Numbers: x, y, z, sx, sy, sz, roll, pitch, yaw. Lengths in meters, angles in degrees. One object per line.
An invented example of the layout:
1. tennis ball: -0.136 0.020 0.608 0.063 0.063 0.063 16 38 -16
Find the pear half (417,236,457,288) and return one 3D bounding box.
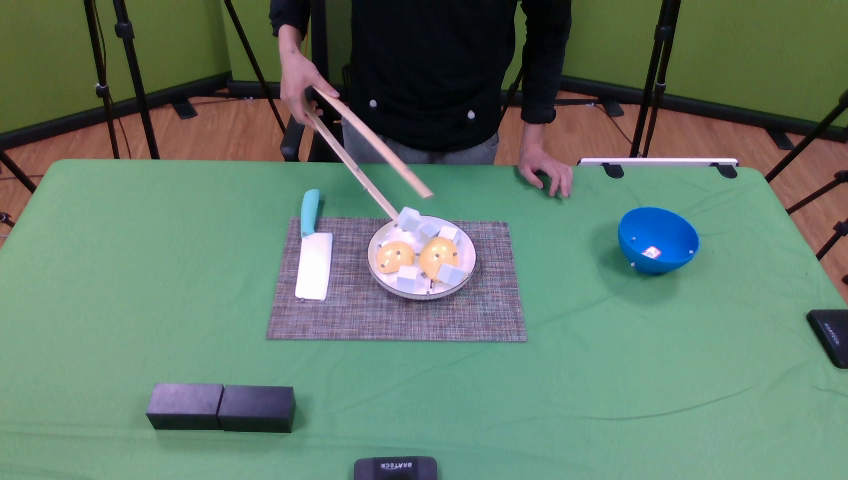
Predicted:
1. pear half: 0.022 0.039 1.127 0.076 0.056 0.109 5 50 7

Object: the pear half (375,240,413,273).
1. pear half: -0.059 0.026 1.145 0.070 0.031 0.088 22 43 21

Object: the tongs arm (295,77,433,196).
1. tongs arm: -0.119 -0.203 1.141 0.386 0.028 0.028 45 39 21

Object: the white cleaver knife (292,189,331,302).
1. white cleaver knife: -0.215 0.006 1.178 0.066 0.021 0.284 5 49 -12

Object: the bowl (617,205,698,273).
1. bowl: 0.444 0.011 1.182 0.151 0.077 0.150 2 46 -2

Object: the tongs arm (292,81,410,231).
1. tongs arm: -0.143 -0.169 1.169 0.383 0.051 0.026 48 37 19

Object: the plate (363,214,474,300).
1. plate: -0.010 0.036 1.146 0.208 0.039 0.206 3 46 -2
